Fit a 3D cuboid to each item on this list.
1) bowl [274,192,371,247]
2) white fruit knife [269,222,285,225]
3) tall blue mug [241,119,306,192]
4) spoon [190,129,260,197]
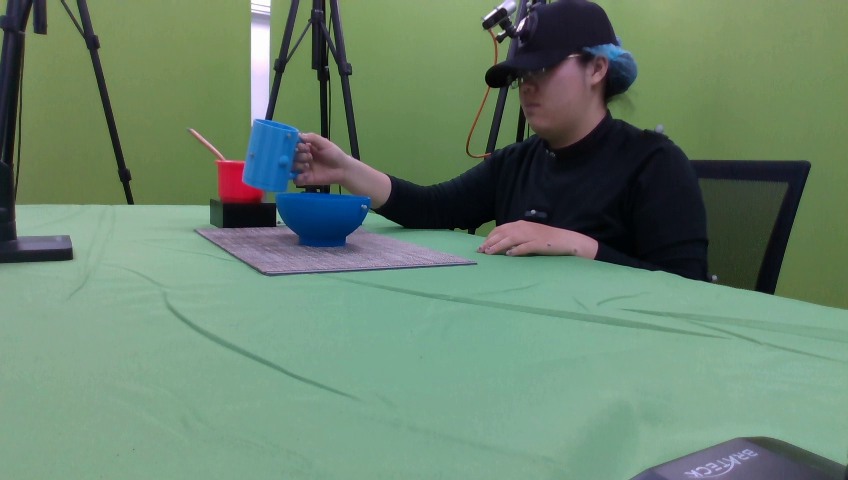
[{"bbox_3d":[-0.161,-0.033,0.958,0.151,0.077,0.151,3,7,0],"label":"bowl"},{"bbox_3d":[-0.222,-0.038,1.261,0.208,0.016,0.027,-4,-17,-31],"label":"white fruit knife"},{"bbox_3d":[-0.261,-0.148,1.050,0.078,0.108,0.107,16,13,8],"label":"tall blue mug"},{"bbox_3d":[-0.388,-0.150,1.174,0.193,0.021,0.042,48,19,7],"label":"spoon"}]
